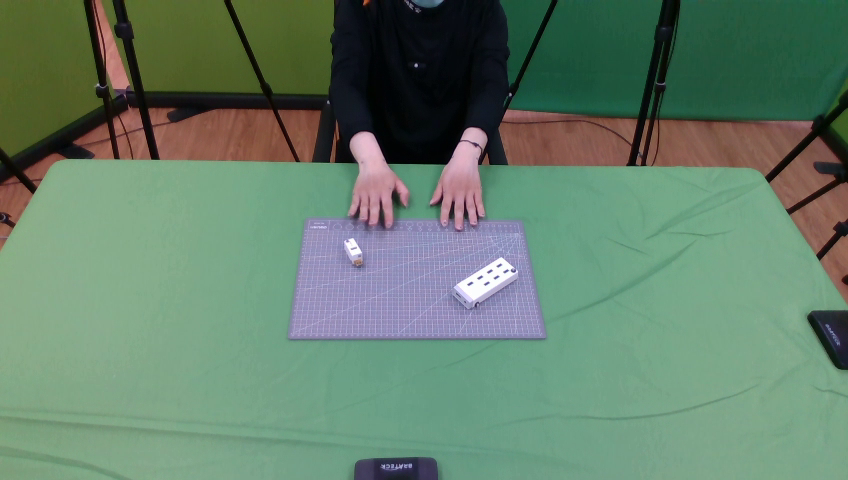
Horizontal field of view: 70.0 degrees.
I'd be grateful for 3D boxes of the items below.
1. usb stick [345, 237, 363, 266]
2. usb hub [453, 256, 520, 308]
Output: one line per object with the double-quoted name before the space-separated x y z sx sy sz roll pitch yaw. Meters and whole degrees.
"usb stick" -0.131 0.024 1.155 0.021 0.027 0.059 -16 52 -20
"usb hub" 0.117 0.077 1.121 0.125 0.025 0.049 -29 55 -27
